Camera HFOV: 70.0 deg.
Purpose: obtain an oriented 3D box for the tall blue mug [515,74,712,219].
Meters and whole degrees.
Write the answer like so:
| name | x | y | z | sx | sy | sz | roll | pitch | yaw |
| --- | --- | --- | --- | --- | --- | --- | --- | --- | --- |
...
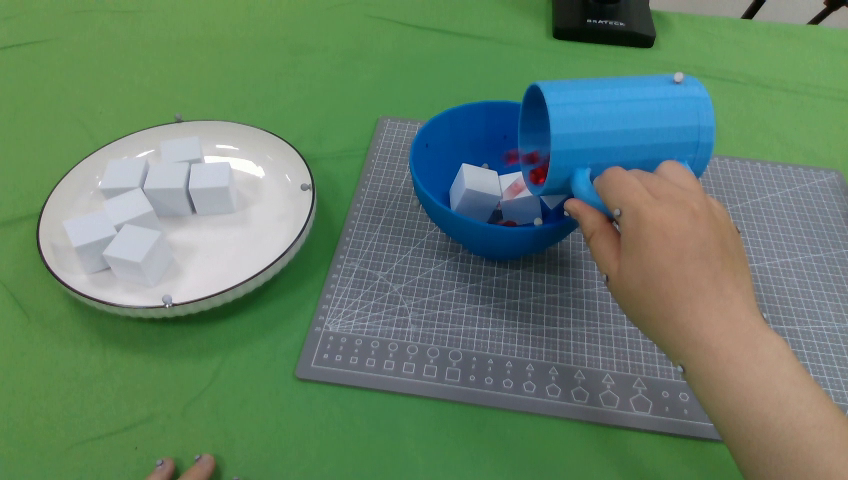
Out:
| name | x | y | z | sx | sy | sz | roll | pitch | yaw |
| --- | --- | --- | --- | --- | --- | --- | --- | --- | --- |
| tall blue mug | 0.127 | -0.066 | 0.400 | 0.108 | 0.078 | 0.106 | -4 | 22 | -8 |

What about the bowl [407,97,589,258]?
| name | x | y | z | sx | sy | sz | roll | pitch | yaw |
| --- | --- | --- | --- | --- | --- | --- | --- | --- | --- |
| bowl | 0.061 | -0.039 | 0.486 | 0.151 | 0.077 | 0.150 | 2 | 48 | -2 |

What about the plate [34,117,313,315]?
| name | x | y | z | sx | sy | sz | roll | pitch | yaw |
| --- | --- | --- | --- | --- | --- | --- | --- | --- | --- |
| plate | -0.193 | -0.022 | 0.488 | 0.209 | 0.038 | 0.207 | 2 | 49 | -2 |
